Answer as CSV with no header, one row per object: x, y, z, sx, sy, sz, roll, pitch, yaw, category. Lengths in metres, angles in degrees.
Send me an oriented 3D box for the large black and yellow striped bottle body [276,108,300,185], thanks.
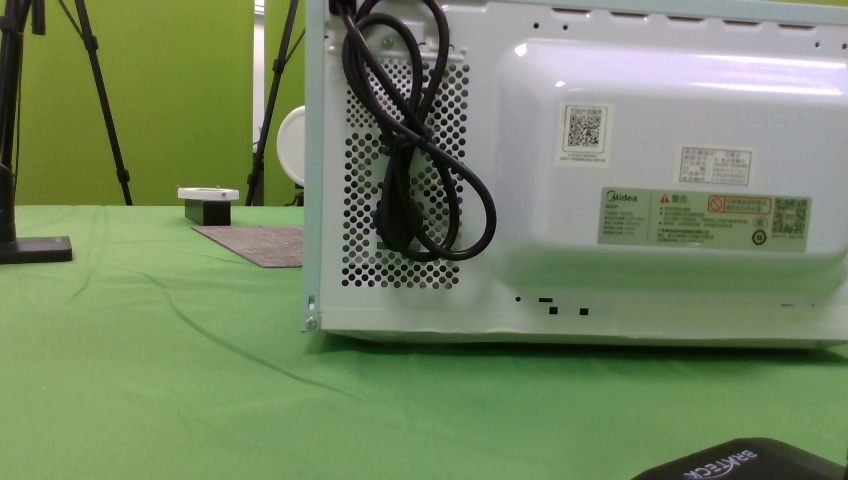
-0.140,-0.156,1.008,0.130,0.130,0.184,6,13,24,large black and yellow striped bottle body

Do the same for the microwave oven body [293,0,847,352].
0.122,-0.055,0.550,0.442,0.260,0.325,3,7,-5,microwave oven body

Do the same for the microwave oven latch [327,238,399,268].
-0.069,0.015,0.694,0.079,0.029,0.030,3,7,-3,microwave oven latch

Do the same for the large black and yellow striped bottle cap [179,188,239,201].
-0.434,-0.093,1.226,0.115,0.019,0.115,3,9,0,large black and yellow striped bottle cap

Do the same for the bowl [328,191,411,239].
-0.100,-0.046,1.104,0.151,0.077,0.151,3,8,0,bowl

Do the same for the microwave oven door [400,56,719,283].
0.155,-0.077,0.698,0.356,0.243,0.039,2,8,-5,microwave oven door
